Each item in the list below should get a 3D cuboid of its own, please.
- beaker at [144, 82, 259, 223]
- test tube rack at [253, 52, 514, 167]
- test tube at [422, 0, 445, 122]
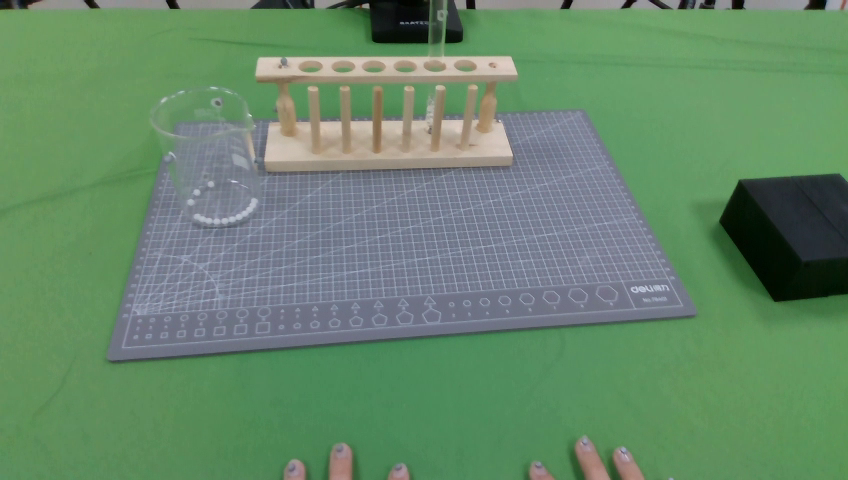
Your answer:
[{"bbox_3d":[-0.179,-0.070,0.513,0.084,0.101,0.073,11,46,7],"label":"beaker"},{"bbox_3d":[-0.036,-0.128,0.590,0.243,0.086,0.066,-2,46,-6],"label":"test tube rack"},{"bbox_3d":[0.009,-0.179,0.573,0.017,0.151,0.017,2,41,-1],"label":"test tube"}]
